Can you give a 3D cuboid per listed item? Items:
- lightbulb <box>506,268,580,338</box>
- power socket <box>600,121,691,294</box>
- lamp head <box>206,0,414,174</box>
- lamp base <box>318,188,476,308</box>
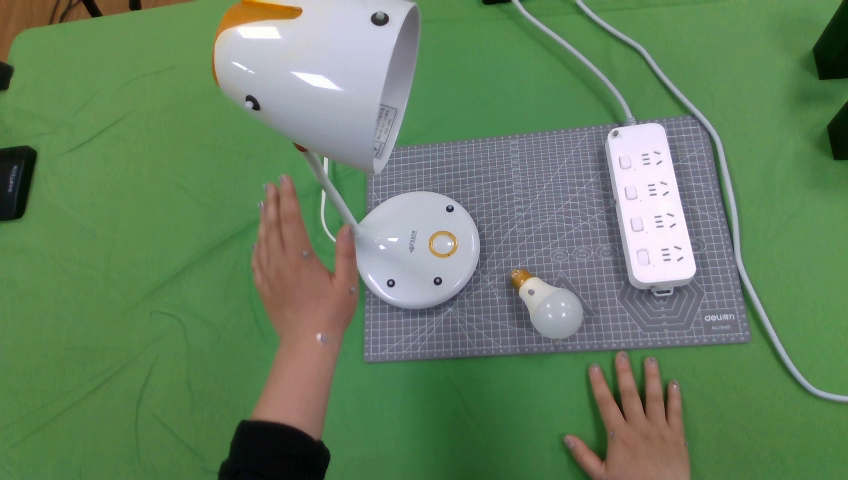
[{"bbox_3d":[0.135,0.069,0.711,0.059,0.060,0.106,-40,53,-6],"label":"lightbulb"},{"bbox_3d":[0.268,-0.047,0.740,0.072,0.033,0.225,-6,68,7],"label":"power socket"},{"bbox_3d":[-0.075,-0.109,0.399,0.123,0.113,0.112,13,72,7],"label":"lamp head"},{"bbox_3d":[-0.039,-0.016,0.703,0.179,0.182,0.159,-8,68,10],"label":"lamp base"}]
